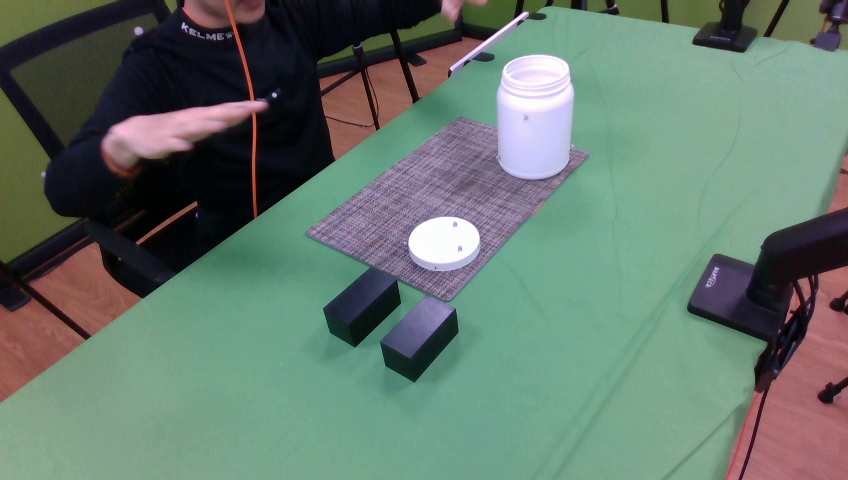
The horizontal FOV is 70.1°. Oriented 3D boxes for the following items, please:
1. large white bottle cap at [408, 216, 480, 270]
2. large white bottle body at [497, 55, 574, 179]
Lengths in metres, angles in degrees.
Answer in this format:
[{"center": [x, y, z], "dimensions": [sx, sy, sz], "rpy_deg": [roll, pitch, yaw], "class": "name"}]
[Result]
[{"center": [0.031, 0.004, 0.957], "dimensions": [0.115, 0.018, 0.114], "rpy_deg": [-4, 41, 4], "class": "large white bottle cap"}, {"center": [0.194, -0.216, 1.060], "dimensions": [0.130, 0.185, 0.130], "rpy_deg": [-4, 41, 4], "class": "large white bottle body"}]
